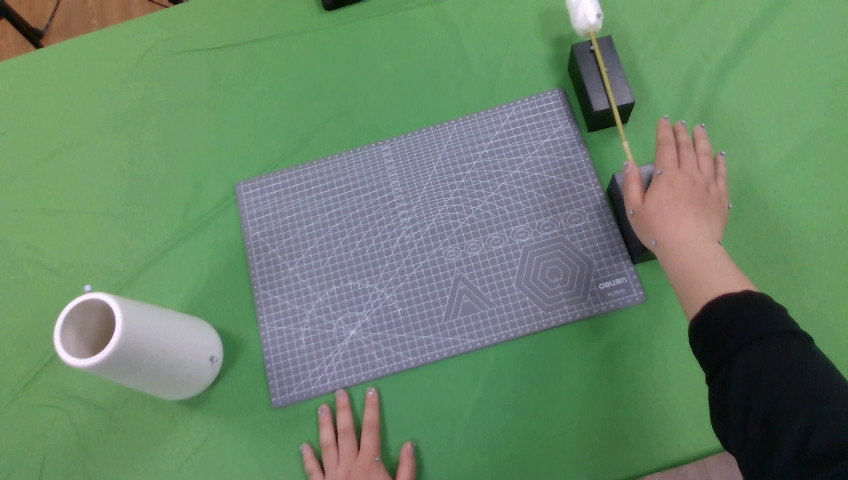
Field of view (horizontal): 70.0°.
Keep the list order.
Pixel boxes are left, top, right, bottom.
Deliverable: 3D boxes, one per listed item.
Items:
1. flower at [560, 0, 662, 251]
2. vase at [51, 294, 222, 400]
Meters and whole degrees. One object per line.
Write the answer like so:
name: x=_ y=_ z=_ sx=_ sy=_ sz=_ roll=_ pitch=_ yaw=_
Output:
flower: x=0.223 y=-0.152 z=0.714 sx=0.044 sy=0.038 sz=0.358 roll=1 pitch=65 yaw=-25
vase: x=-0.294 y=0.113 z=0.641 sx=0.098 sy=0.201 sz=0.097 roll=-2 pitch=70 yaw=5
